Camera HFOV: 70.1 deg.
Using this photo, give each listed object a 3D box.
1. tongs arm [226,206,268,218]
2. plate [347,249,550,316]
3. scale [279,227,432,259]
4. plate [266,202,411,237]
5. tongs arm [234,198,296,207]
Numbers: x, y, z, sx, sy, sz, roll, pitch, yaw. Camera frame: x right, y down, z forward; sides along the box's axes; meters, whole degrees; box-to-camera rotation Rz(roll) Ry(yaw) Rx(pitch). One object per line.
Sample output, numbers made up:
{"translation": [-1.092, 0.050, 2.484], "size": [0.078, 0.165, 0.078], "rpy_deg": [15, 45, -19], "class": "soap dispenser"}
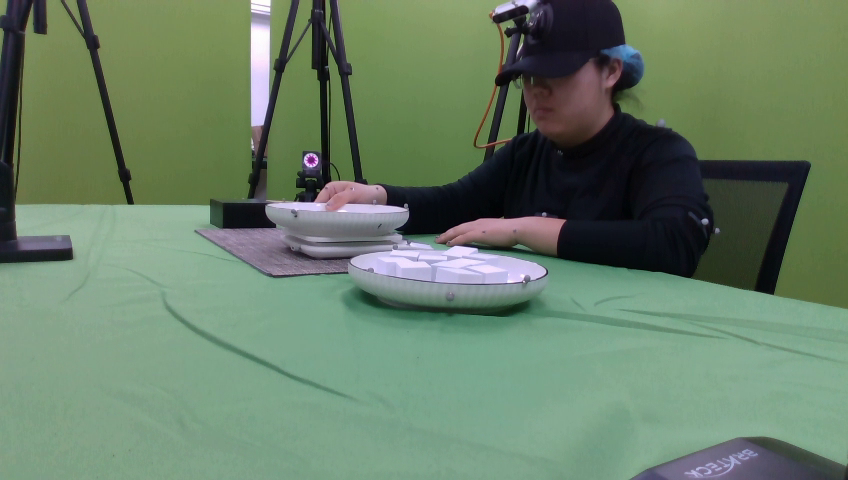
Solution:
{"translation": [-0.247, -0.061, 1.381], "size": [0.389, 0.028, 0.028], "rpy_deg": [0, 5, -21], "class": "tongs arm"}
{"translation": [0.025, 0.042, 0.627], "size": [0.209, 0.038, 0.209], "rpy_deg": [2, 7, 0], "class": "plate"}
{"translation": [-0.100, 0.001, 0.899], "size": [0.202, 0.031, 0.148], "rpy_deg": [-1, 9, -31], "class": "scale"}
{"translation": [-0.123, -0.030, 0.879], "size": [0.208, 0.039, 0.207], "rpy_deg": [2, 6, 0], "class": "plate"}
{"translation": [-0.263, -0.076, 1.459], "size": [0.386, 0.026, 0.050], "rpy_deg": [3, 8, -8], "class": "tongs arm"}
